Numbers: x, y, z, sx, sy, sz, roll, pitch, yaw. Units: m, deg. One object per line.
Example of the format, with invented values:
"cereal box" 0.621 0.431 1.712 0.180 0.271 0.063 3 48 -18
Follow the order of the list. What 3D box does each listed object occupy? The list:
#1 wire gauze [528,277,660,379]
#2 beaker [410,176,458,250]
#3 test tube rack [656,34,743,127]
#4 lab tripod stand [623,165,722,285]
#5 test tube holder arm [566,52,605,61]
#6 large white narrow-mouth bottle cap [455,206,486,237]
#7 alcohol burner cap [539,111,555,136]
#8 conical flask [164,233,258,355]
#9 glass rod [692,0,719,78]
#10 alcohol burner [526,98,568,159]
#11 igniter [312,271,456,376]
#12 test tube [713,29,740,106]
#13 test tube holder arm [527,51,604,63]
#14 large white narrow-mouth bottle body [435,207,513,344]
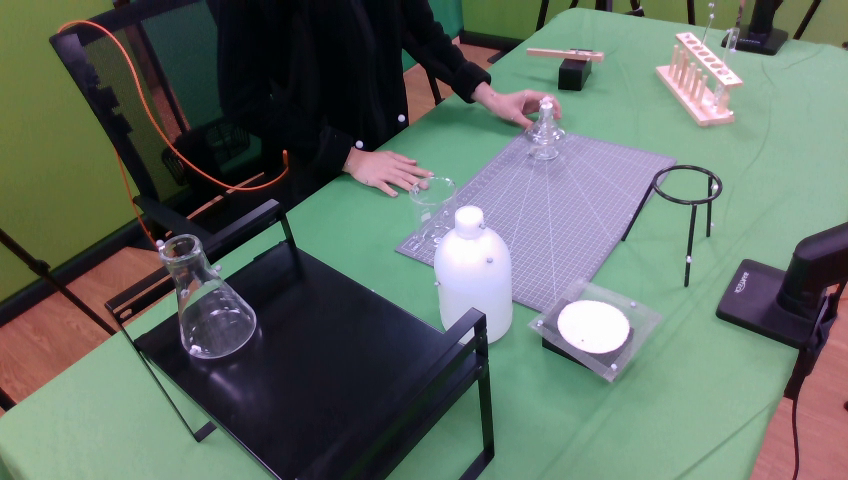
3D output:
"wire gauze" 0.213 0.103 0.763 0.124 0.011 0.122 30 52 35
"beaker" 0.022 -0.041 0.964 0.073 0.101 0.084 28 51 35
"test tube rack" 0.553 -0.330 1.233 0.067 0.085 0.241 -7 40 2
"lab tripod stand" 0.365 -0.030 0.875 0.148 0.132 0.147 -6 41 6
"test tube holder arm" 0.352 -0.401 1.325 0.087 0.015 0.010 15 38 31
"large white narrow-mouth bottle cap" 0.057 -0.023 0.734 0.038 0.024 0.037 -4 41 4
"alcohol burner cap" 0.243 -0.233 1.199 0.034 0.048 0.033 -6 36 5
"conical flask" -0.217 0.051 0.601 0.075 0.122 0.075 -4 40 4
"glass rod" 0.561 -0.402 1.214 0.008 0.200 0.008 -1 49 2
"alcohol burner" 0.228 -0.210 1.118 0.078 0.119 0.077 -5 43 5
"igniter" -0.068 0.111 0.859 0.274 0.025 0.057 27 61 34
"test tube" 0.572 -0.324 1.147 0.017 0.151 0.017 -3 37 2
"test tube holder arm" 0.311 -0.408 1.344 0.177 0.015 0.013 14 38 30
"large white narrow-mouth bottle body" 0.065 0.041 0.791 0.102 0.195 0.101 -4 41 4
